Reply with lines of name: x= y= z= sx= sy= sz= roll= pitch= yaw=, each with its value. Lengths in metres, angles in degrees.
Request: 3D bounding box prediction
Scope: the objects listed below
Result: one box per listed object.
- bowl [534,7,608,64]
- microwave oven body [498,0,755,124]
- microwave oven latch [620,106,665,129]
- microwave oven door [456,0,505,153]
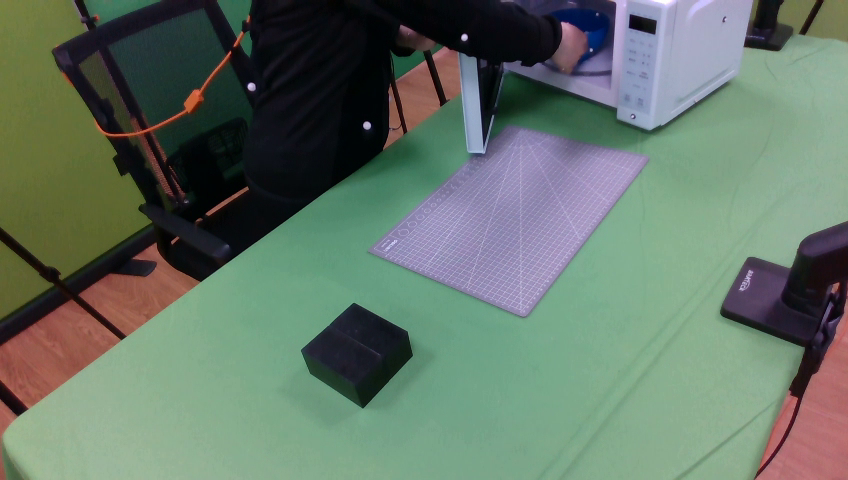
bowl: x=0.308 y=-0.425 z=1.278 sx=0.151 sy=0.077 sz=0.150 roll=-4 pitch=43 yaw=4
microwave oven body: x=0.402 y=-0.458 z=1.259 sx=0.327 sy=0.261 sz=0.437 roll=-33 pitch=45 yaw=-24
microwave oven latch: x=0.413 y=-0.237 z=1.146 sx=0.030 sy=0.029 sz=0.078 roll=-32 pitch=44 yaw=-23
microwave oven door: x=0.119 y=-0.373 z=1.206 sx=0.039 sy=0.245 sz=0.355 roll=2 pitch=41 yaw=14
